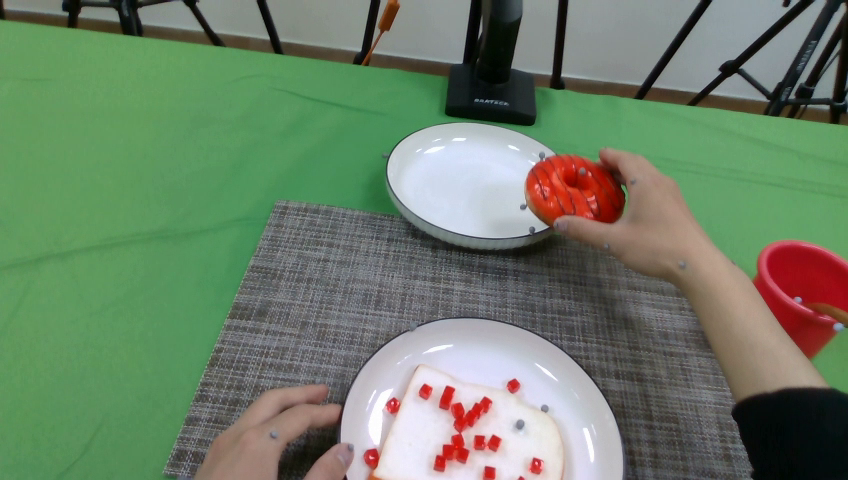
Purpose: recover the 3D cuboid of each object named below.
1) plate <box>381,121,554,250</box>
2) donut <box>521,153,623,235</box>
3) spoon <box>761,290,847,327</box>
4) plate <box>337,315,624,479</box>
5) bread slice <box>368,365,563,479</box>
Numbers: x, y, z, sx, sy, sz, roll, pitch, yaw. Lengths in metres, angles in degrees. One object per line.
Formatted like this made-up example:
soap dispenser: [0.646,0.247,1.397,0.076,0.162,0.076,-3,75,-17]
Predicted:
plate: [0.056,-0.058,0.660,0.208,0.039,0.205,5,43,-4]
donut: [0.140,-0.044,0.580,0.099,0.048,0.098,6,44,-5]
spoon: [0.328,0.058,0.509,0.041,0.021,0.194,22,3,13]
plate: [0.040,0.148,0.450,0.209,0.038,0.207,4,45,-3]
bread slice: [0.037,0.151,0.450,0.131,0.019,0.104,15,46,9]
